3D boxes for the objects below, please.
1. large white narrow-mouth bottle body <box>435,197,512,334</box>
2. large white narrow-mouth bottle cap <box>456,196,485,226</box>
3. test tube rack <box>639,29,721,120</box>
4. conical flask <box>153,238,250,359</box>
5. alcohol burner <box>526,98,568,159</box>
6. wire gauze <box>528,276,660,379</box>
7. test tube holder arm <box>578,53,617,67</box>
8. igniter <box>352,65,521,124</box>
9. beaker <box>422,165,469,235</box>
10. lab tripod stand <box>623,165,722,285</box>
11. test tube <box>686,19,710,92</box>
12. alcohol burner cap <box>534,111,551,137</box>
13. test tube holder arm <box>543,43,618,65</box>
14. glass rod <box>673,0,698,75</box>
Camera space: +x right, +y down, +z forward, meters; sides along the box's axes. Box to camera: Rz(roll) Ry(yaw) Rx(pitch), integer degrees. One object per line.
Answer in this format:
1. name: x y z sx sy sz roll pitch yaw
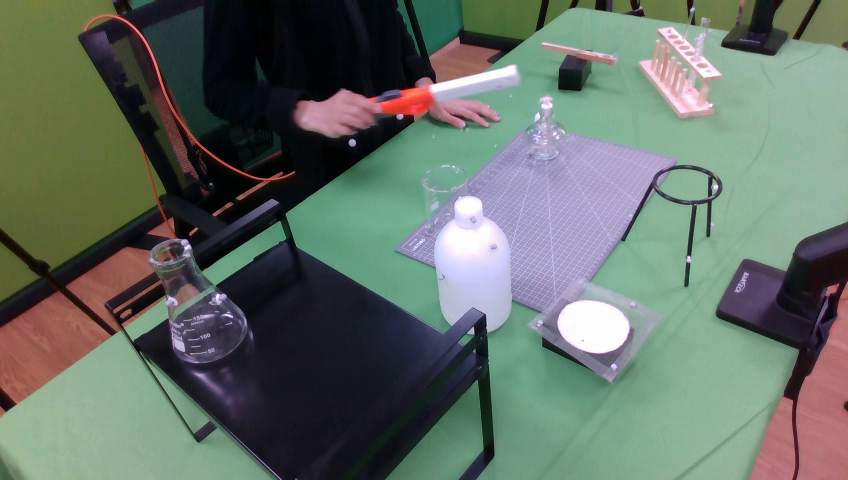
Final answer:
1. large white narrow-mouth bottle body: 0.066 0.028 0.805 0.102 0.195 0.101 -4 40 4
2. large white narrow-mouth bottle cap: 0.058 -0.036 0.749 0.038 0.024 0.037 -4 40 4
3. test tube rack: 0.527 -0.351 1.262 0.067 0.085 0.241 -8 40 1
4. conical flask: -0.225 0.055 0.597 0.075 0.122 0.075 -5 41 4
5. alcohol burner: 0.228 -0.210 1.118 0.078 0.119 0.077 -5 43 5
6. wire gauze: 0.214 0.103 0.763 0.124 0.011 0.122 30 52 35
7. test tube holder arm: 0.376 -0.393 1.314 0.087 0.015 0.010 26 51 32
8. igniter: 0.012 -0.221 0.929 0.275 0.057 0.025 -9 64 17
9. beaker: 0.041 -0.063 0.986 0.073 0.101 0.084 20 47 29
10. lab tripod stand: 0.365 -0.030 0.874 0.148 0.132 0.147 -6 41 6
11. test tube: 0.540 -0.360 1.193 0.017 0.151 0.017 -4 43 4
12. alcohol burner cap: 0.235 -0.231 1.197 0.034 0.048 0.033 -5 39 5
13. test tube holder arm: 0.344 -0.413 1.341 0.177 0.015 0.013 25 50 31
14. glass rod: 0.538 -0.425 1.244 0.008 0.200 0.008 0 47 1
